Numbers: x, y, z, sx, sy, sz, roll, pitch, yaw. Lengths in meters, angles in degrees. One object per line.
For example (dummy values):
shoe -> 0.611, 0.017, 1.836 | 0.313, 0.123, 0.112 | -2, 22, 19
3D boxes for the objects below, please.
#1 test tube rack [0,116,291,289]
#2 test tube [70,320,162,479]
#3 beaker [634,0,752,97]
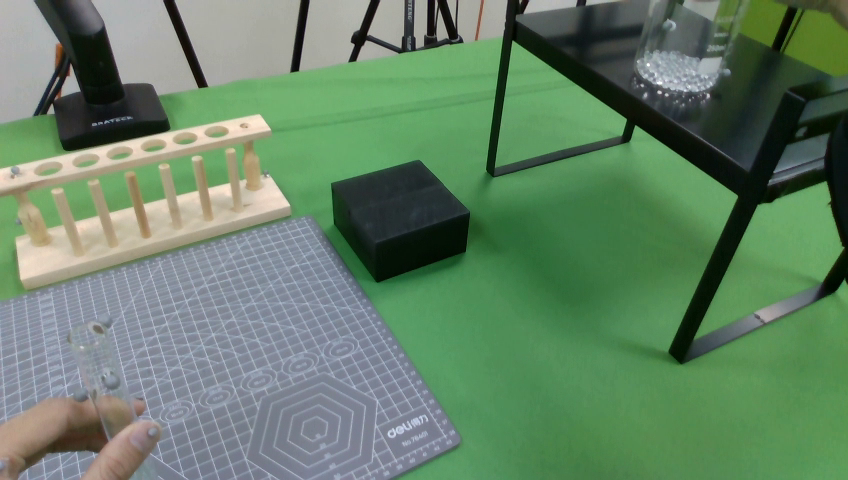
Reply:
test tube rack -> -0.257, -0.041, 0.574 | 0.243, 0.086, 0.066 | -18, 45, -24
test tube -> -0.144, 0.099, 0.297 | 0.017, 0.151, 0.017 | 2, 35, -1
beaker -> 0.209, -0.170, 0.475 | 0.084, 0.101, 0.073 | -19, 45, -23
